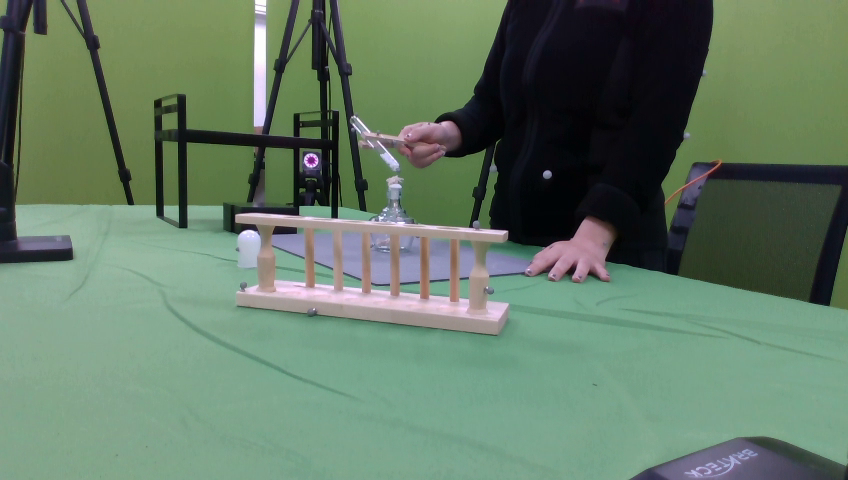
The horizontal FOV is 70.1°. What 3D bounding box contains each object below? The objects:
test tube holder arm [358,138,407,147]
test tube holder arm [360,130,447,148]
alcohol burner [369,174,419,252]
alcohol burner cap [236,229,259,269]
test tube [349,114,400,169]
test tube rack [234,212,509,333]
[{"bbox_3d":[-0.066,-0.158,0.972,0.088,0.010,0.015,-10,46,-36],"label":"test tube holder arm"},{"bbox_3d":[-0.029,-0.165,0.998,0.179,0.013,0.015,-2,42,-41],"label":"test tube holder arm"},{"bbox_3d":[-0.047,-0.041,0.922,0.078,0.119,0.078,1,9,0],"label":"alcohol burner"},{"bbox_3d":[-0.221,0.010,0.759,0.034,0.048,0.034,-1,12,0],"label":"alcohol burner cap"},{"bbox_3d":[-0.078,-0.155,0.951,0.017,0.017,0.149,-4,41,-39],"label":"test tube"},{"bbox_3d":[-0.047,0.023,0.547,0.242,0.085,0.067,4,7,15],"label":"test tube rack"}]
